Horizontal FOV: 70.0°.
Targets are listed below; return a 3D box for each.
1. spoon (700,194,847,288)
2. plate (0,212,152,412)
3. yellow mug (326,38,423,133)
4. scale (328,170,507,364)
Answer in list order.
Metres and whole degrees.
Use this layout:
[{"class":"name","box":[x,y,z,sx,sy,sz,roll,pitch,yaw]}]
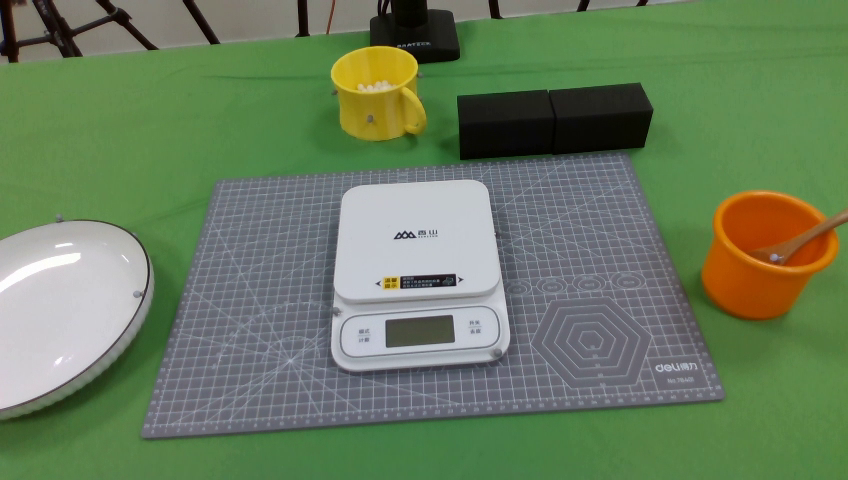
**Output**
[{"class":"spoon","box":[0.311,-0.016,0.475,0.022,0.194,0.041,25,42,-34]},{"class":"plate","box":[-0.342,0.061,0.531,0.209,0.038,0.207,-2,48,2]},{"class":"yellow mug","box":[-0.049,-0.175,0.702,0.129,0.064,0.100,35,60,29]},{"class":"scale","box":[-0.009,0.015,0.547,0.149,0.032,0.199,-4,49,1]}]
